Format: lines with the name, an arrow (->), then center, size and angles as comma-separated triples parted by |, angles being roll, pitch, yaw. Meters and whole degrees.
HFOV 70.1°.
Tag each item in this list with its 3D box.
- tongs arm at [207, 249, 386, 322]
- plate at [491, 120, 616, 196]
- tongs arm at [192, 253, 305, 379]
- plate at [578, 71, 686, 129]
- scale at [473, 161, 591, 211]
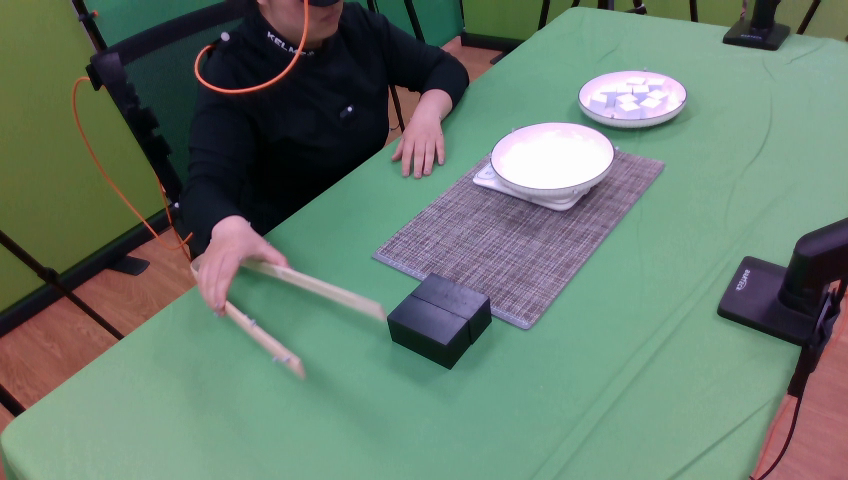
tongs arm -> -0.191, 0.057, 0.844 | 0.384, 0.028, 0.028 | 13, 43, 40
plate -> 0.221, -0.137, 1.038 | 0.207, 0.039, 0.206 | -6, 41, 5
tongs arm -> -0.239, 0.087, 0.809 | 0.051, 0.026, 0.381 | -33, 33, -29
plate -> 0.416, -0.279, 1.222 | 0.209, 0.038, 0.208 | -5, 41, 5
scale -> 0.202, -0.121, 1.074 | 0.199, 0.032, 0.149 | 23, 49, 33
